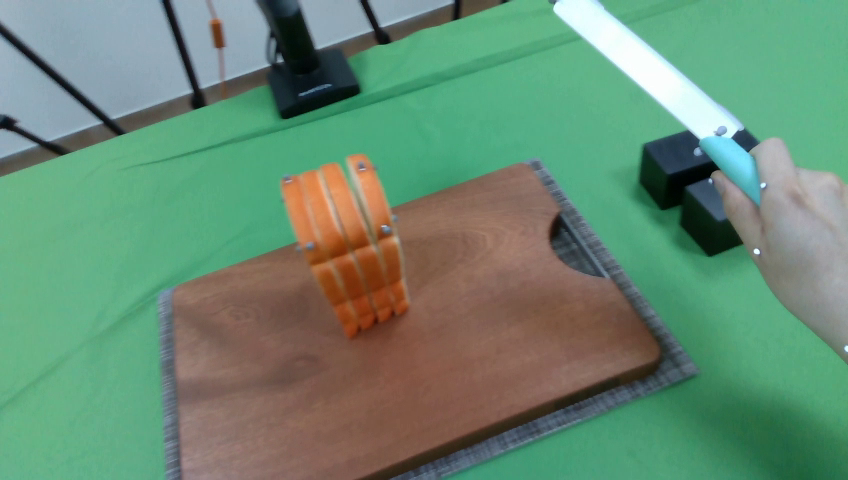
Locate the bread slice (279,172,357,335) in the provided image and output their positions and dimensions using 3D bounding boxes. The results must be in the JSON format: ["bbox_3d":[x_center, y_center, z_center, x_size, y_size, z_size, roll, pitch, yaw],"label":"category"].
[{"bbox_3d":[-0.094,0.005,0.535,0.018,0.136,0.105,-22,46,-5],"label":"bread slice"}]

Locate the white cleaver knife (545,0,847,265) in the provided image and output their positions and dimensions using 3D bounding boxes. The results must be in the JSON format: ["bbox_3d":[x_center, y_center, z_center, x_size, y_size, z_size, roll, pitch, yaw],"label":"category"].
[{"bbox_3d":[0.200,-0.094,0.436,0.285,0.021,0.066,47,55,8],"label":"white cleaver knife"}]

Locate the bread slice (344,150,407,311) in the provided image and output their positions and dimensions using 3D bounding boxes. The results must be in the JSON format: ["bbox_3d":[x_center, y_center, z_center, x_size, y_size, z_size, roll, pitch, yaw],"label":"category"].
[{"bbox_3d":[-0.043,-0.013,0.540,0.019,0.133,0.103,-18,49,-10],"label":"bread slice"}]
